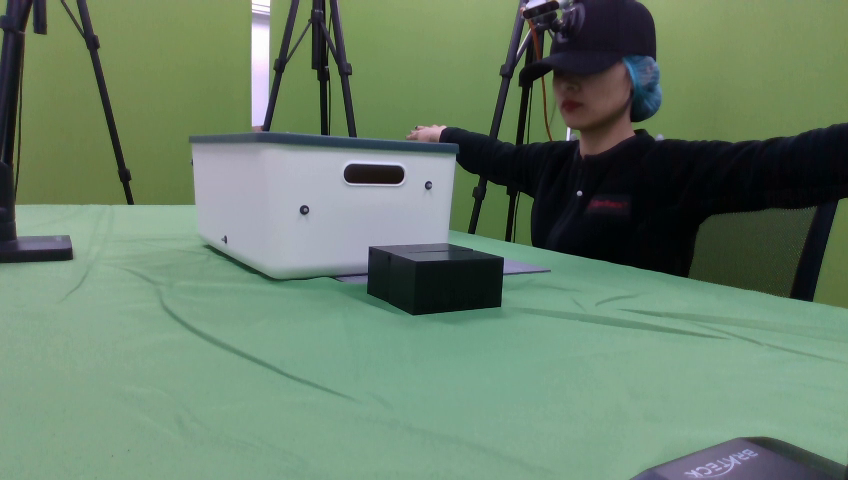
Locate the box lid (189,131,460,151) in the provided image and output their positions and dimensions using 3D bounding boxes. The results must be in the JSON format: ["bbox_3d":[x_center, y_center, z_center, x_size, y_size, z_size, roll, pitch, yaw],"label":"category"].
[{"bbox_3d":[-0.150,-0.132,0.828,0.265,0.015,0.369,-3,9,-33],"label":"box lid"}]

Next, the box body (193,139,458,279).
[{"bbox_3d":[-0.154,-0.059,0.840,0.255,0.160,0.362,-2,9,-33],"label":"box body"}]
